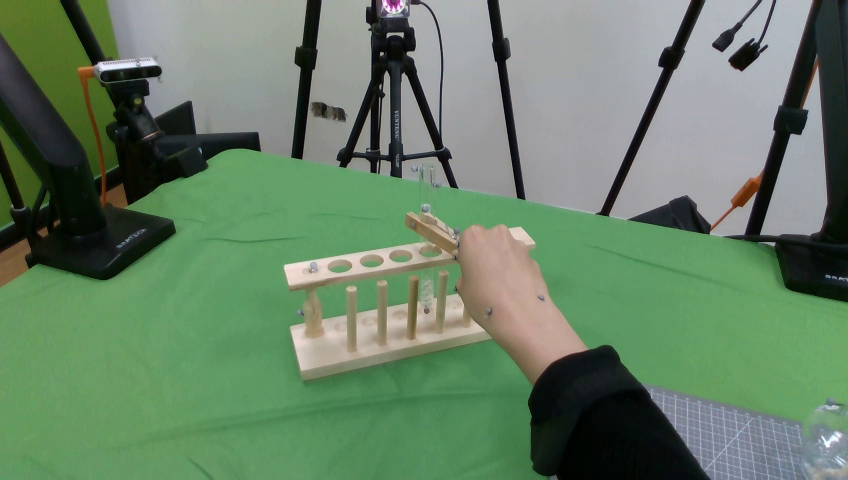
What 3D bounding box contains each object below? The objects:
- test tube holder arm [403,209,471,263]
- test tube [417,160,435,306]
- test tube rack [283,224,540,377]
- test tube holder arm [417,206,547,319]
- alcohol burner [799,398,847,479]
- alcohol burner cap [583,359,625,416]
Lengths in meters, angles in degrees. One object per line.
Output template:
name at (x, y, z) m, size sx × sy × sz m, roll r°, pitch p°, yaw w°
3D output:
test tube holder arm at (0.013, -0.005, 0.550) m, size 0.010 × 0.015 × 0.087 m, roll -23°, pitch 41°, yaw -38°
test tube at (0.002, -0.003, 0.574) m, size 0.017 × 0.151 × 0.017 m, roll 1°, pitch 26°, yaw 0°
test tube rack at (-0.005, 0.054, 0.584) m, size 0.243 × 0.086 × 0.066 m, roll -9°, pitch 34°, yaw -18°
test tube holder arm at (0.044, 0.014, 0.524) m, size 0.013 × 0.015 × 0.176 m, roll -16°, pitch 37°, yaw -31°
alcohol burner at (0.323, 0.136, 0.440) m, size 0.078 × 0.120 × 0.077 m, roll 2°, pitch 34°, yaw -1°
alcohol burner cap at (0.156, 0.123, 0.518) m, size 0.034 × 0.048 × 0.033 m, roll 2°, pitch 34°, yaw -1°
